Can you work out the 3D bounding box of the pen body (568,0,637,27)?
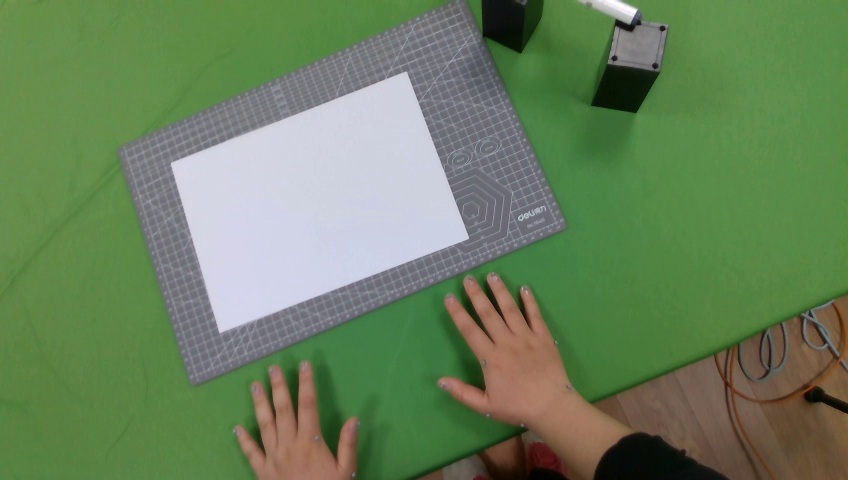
[{"bbox_3d":[0.137,-0.243,0.587,0.143,0.017,0.017,29,85,9],"label":"pen body"}]
